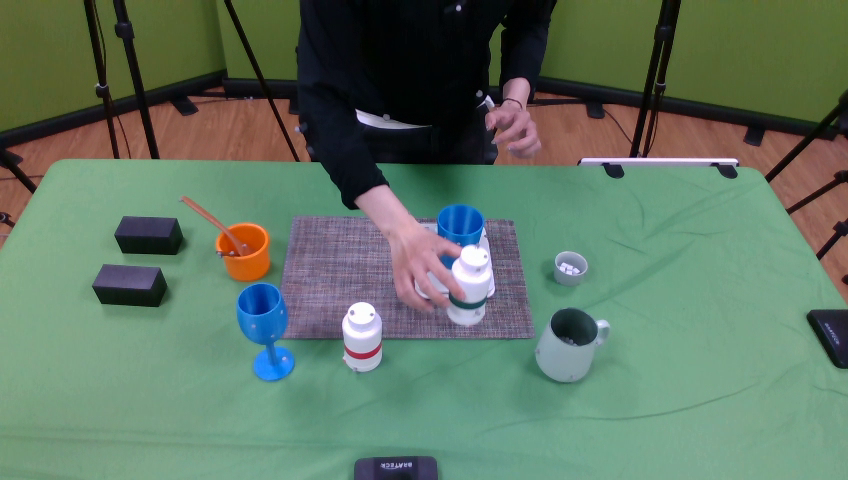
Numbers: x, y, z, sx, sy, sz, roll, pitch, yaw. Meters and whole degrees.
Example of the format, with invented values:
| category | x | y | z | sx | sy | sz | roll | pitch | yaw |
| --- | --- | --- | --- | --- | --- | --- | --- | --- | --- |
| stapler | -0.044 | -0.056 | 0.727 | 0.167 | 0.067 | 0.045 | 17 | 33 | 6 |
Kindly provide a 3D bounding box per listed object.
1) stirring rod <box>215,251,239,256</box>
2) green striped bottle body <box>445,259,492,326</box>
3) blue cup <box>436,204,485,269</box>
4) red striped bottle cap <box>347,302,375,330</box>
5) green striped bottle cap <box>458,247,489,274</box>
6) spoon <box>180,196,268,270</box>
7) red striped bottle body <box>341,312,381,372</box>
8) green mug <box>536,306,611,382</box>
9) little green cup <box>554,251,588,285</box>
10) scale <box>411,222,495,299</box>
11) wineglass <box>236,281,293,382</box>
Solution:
| category | x | y | z | sx | sy | sz | roll | pitch | yaw |
| --- | --- | --- | --- | --- | --- | --- | --- | --- | --- |
| stirring rod | -0.340 | 0.024 | 1.059 | 0.014 | 0.176 | 0.006 | 16 | 86 | -6 |
| green striped bottle body | 0.070 | 0.072 | 0.945 | 0.063 | 0.120 | 0.063 | 4 | 41 | -3 |
| blue cup | 0.062 | -0.001 | 1.098 | 0.093 | 0.101 | 0.092 | 2 | 43 | -1 |
| red striped bottle cap | -0.097 | 0.116 | 0.933 | 0.044 | 0.018 | 0.044 | 2 | 47 | -2 |
| green striped bottle cap | 0.074 | 0.031 | 0.907 | 0.044 | 0.020 | 0.044 | 4 | 42 | -3 |
| spoon | -0.360 | -0.014 | 1.094 | 0.021 | 0.194 | 0.041 | -27 | 26 | 31 |
| red striped bottle body | -0.100 | 0.154 | 0.972 | 0.063 | 0.120 | 0.062 | 2 | 46 | -2 |
| green mug | 0.250 | 0.167 | 0.996 | 0.125 | 0.105 | 0.092 | -15 | 48 | -18 |
| little green cup | 0.277 | 0.055 | 1.151 | 0.061 | 0.039 | 0.061 | 1 | 46 | -1 |
| scale | 0.052 | 0.031 | 1.158 | 0.149 | 0.032 | 0.199 | 1 | 46 | -4 |
| wineglass | -0.243 | 0.143 | 0.934 | 0.074 | 0.173 | 0.073 | 2 | 46 | -2 |
